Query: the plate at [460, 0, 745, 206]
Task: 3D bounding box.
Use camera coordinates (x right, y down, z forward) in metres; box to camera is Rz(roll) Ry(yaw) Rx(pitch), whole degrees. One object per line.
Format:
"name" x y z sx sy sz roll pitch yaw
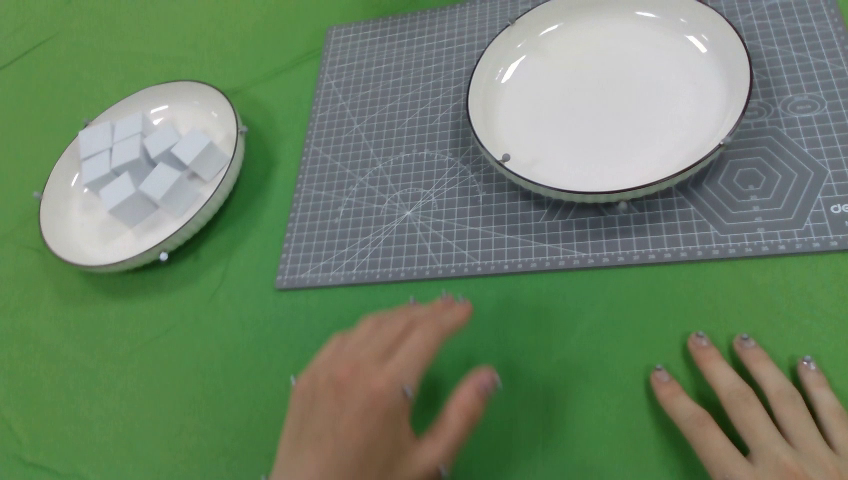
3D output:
"plate" 0.132 -0.112 0.473 0.209 0.038 0.207 -8 59 14

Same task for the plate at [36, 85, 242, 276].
"plate" -0.262 -0.056 0.572 0.207 0.039 0.206 -8 59 14
